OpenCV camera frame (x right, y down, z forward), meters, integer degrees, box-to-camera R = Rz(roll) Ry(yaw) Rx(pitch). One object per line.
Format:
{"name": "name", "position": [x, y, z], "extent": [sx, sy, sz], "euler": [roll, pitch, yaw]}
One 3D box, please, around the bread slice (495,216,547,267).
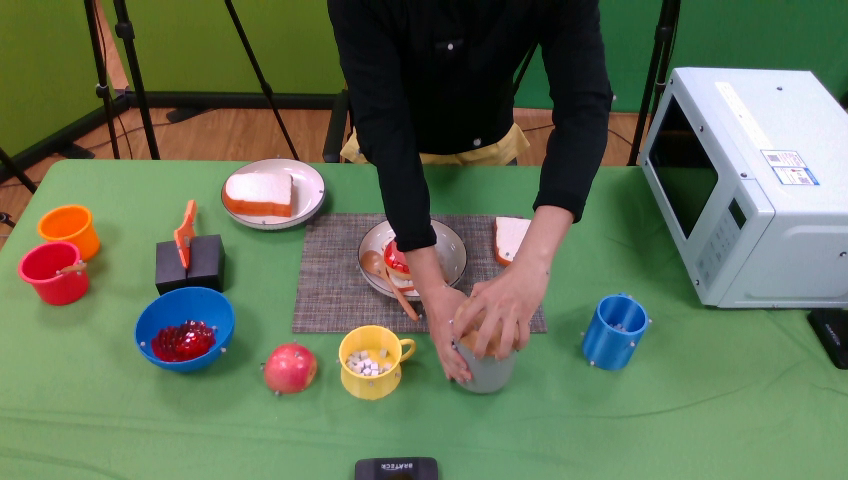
{"name": "bread slice", "position": [0.194, 0.002, 1.204], "extent": [0.105, 0.019, 0.131], "euler": [5, 45, 2]}

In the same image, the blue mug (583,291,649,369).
{"name": "blue mug", "position": [0.324, 0.142, 1.023], "extent": [0.082, 0.106, 0.116], "euler": [16, 48, 11]}

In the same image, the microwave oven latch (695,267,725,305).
{"name": "microwave oven latch", "position": [0.525, 0.082, 1.115], "extent": [0.030, 0.029, 0.078], "euler": [5, 46, 2]}

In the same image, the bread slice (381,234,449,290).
{"name": "bread slice", "position": [-0.026, 0.039, 1.139], "extent": [0.107, 0.018, 0.133], "euler": [-12, 47, -16]}

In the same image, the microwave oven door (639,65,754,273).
{"name": "microwave oven door", "position": [0.522, -0.147, 1.192], "extent": [0.039, 0.245, 0.353], "euler": [0, 47, -3]}

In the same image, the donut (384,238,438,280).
{"name": "donut", "position": [-0.025, 0.029, 1.109], "extent": [0.099, 0.048, 0.098], "euler": [2, 47, -2]}

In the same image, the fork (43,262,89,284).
{"name": "fork", "position": [-0.599, 0.053, 1.014], "extent": [0.207, 0.019, 0.028], "euler": [-14, 29, 45]}

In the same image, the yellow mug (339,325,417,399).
{"name": "yellow mug", "position": [-0.071, 0.190, 0.978], "extent": [0.131, 0.064, 0.099], "euler": [-17, 50, -20]}

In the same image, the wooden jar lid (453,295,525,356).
{"name": "wooden jar lid", "position": [0.098, 0.132, 0.919], "extent": [0.108, 0.021, 0.107], "euler": [3, 49, -3]}

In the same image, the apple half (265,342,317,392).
{"name": "apple half", "position": [-0.214, 0.198, 0.970], "extent": [0.074, 0.053, 0.080], "euler": [19, 48, 11]}

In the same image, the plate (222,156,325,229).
{"name": "plate", "position": [-0.308, -0.094, 1.251], "extent": [0.209, 0.038, 0.208], "euler": [2, 47, -2]}

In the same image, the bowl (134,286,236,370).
{"name": "bowl", "position": [-0.376, 0.156, 0.981], "extent": [0.151, 0.077, 0.150], "euler": [2, 46, -2]}

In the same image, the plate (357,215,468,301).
{"name": "plate", "position": [-0.021, 0.037, 1.141], "extent": [0.208, 0.039, 0.206], "euler": [2, 46, -2]}

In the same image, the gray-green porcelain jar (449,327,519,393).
{"name": "gray-green porcelain jar", "position": [0.095, 0.174, 0.963], "extent": [0.106, 0.127, 0.105], "euler": [2, 47, -1]}

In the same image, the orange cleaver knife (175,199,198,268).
{"name": "orange cleaver knife", "position": [-0.438, -0.017, 1.138], "extent": [0.012, 0.077, 0.210], "euler": [-14, 27, -7]}

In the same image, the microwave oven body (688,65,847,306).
{"name": "microwave oven body", "position": [0.669, -0.111, 1.176], "extent": [0.326, 0.261, 0.439], "euler": [0, 46, -3]}

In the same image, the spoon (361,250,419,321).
{"name": "spoon", "position": [-0.060, 0.079, 1.078], "extent": [0.041, 0.022, 0.192], "euler": [-22, 43, -20]}

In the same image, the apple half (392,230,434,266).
{"name": "apple half", "position": [-0.021, 0.005, 1.084], "extent": [0.081, 0.033, 0.081], "euler": [6, 47, -6]}
